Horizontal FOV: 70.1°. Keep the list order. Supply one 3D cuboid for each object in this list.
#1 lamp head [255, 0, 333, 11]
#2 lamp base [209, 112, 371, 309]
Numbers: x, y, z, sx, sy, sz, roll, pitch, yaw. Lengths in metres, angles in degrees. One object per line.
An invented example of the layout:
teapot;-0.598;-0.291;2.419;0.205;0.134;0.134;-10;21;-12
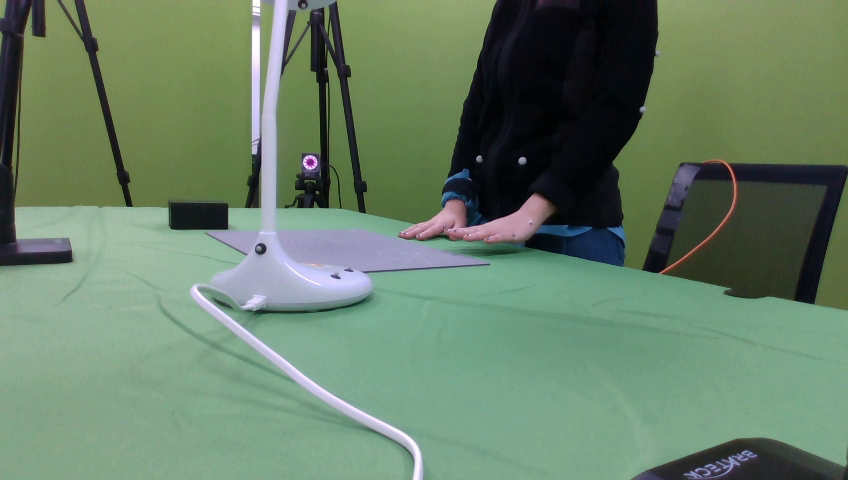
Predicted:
lamp head;-0.141;-0.318;0.630;0.113;0.112;0.123;1;-32;-9
lamp base;-0.133;-0.032;0.594;0.160;0.180;0.179;2;10;3
